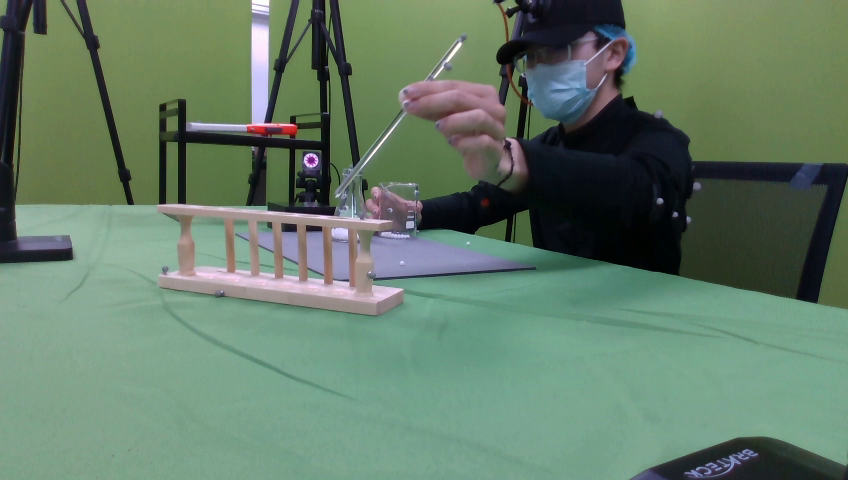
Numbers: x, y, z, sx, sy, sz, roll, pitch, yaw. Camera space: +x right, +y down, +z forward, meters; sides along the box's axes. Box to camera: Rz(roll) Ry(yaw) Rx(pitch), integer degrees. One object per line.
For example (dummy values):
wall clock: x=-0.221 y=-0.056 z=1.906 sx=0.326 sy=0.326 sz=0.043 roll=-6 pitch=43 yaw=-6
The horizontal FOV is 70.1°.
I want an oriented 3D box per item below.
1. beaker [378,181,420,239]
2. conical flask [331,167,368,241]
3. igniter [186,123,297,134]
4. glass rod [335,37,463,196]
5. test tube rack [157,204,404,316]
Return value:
beaker: x=-0.048 y=-0.055 z=1.088 sx=0.073 sy=0.100 sz=0.084 roll=7 pitch=10 yaw=32
conical flask: x=-0.123 y=-0.061 z=1.019 sx=0.075 sy=0.122 sz=0.075 roll=2 pitch=7 yaw=0
igniter: x=-0.392 y=-0.248 z=1.341 sx=0.057 sy=0.025 sz=0.278 roll=9 pitch=14 yaw=38
glass rod: x=-0.024 y=-0.121 z=0.598 sx=0.008 sy=0.199 sz=0.008 roll=38 pitch=0 yaw=0
test tube rack: x=-0.143 y=0.013 z=0.598 sx=0.242 sy=0.085 sz=0.067 roll=5 pitch=8 yaw=19
